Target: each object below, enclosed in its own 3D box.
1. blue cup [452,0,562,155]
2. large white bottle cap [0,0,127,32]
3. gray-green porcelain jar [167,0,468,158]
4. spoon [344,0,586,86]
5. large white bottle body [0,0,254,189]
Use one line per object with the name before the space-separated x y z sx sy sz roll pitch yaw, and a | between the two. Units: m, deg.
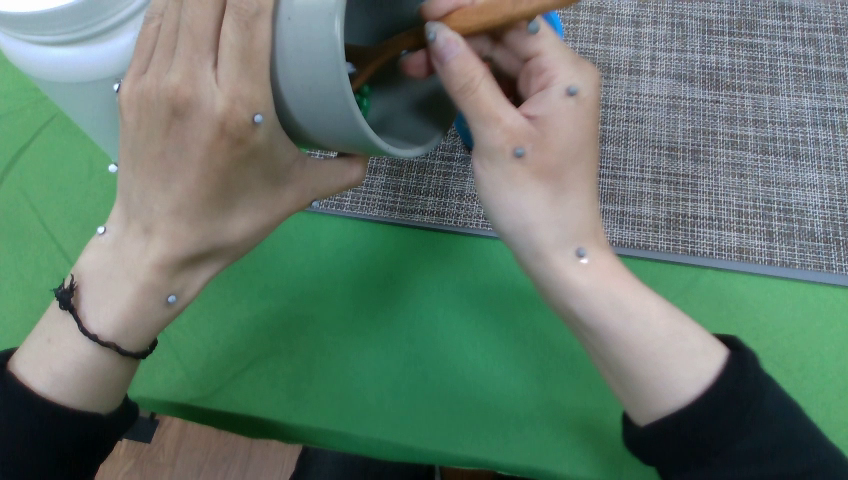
blue cup | 0.051 -0.112 0.435 0.092 0.101 0.092 -2 67 5
large white bottle cap | -0.206 -0.166 0.341 0.115 0.018 0.114 -1 67 3
gray-green porcelain jar | -0.057 -0.099 0.312 0.125 0.107 0.105 10 66 32
spoon | -0.012 -0.094 0.299 0.193 0.022 0.041 -6 87 36
large white bottle body | -0.200 -0.132 0.418 0.130 0.186 0.129 -1 67 3
